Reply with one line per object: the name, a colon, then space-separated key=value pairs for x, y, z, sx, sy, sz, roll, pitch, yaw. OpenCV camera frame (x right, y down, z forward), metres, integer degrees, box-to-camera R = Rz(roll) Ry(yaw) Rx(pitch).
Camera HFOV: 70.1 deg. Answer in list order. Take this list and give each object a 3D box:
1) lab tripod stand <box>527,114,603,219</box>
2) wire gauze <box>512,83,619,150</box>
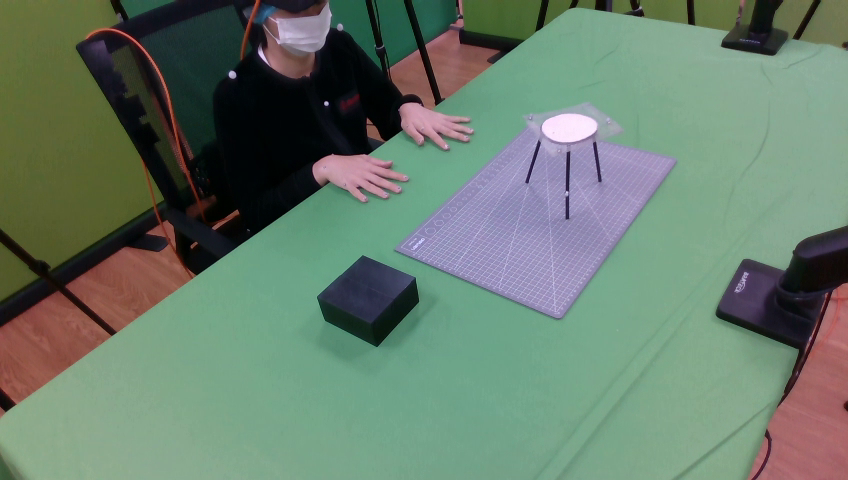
lab tripod stand: x=0.235 y=-0.129 z=1.002 sx=0.148 sy=0.132 sz=0.147 roll=-6 pitch=40 yaw=6
wire gauze: x=0.221 y=-0.193 z=0.950 sx=0.125 sy=0.011 sz=0.120 roll=-34 pitch=50 yaw=-17
